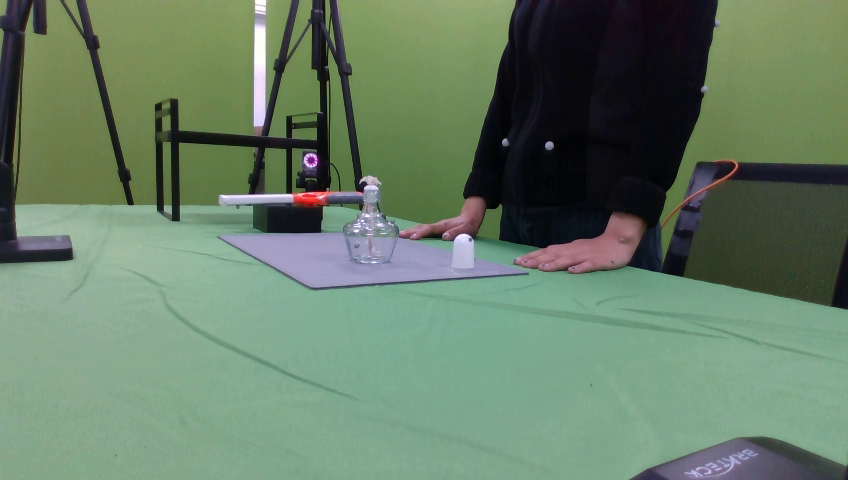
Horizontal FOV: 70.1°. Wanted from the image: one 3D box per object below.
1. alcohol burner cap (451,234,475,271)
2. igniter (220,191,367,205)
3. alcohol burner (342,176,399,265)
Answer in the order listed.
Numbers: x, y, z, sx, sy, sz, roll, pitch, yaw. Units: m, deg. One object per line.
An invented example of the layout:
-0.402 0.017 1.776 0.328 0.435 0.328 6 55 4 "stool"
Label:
0.053 0.016 0.808 0.034 0.048 0.034 3 9 0 "alcohol burner cap"
-0.243 -0.079 1.152 0.278 0.025 0.057 -3 12 -26 "igniter"
-0.073 -0.027 0.818 0.078 0.119 0.078 1 6 0 "alcohol burner"
